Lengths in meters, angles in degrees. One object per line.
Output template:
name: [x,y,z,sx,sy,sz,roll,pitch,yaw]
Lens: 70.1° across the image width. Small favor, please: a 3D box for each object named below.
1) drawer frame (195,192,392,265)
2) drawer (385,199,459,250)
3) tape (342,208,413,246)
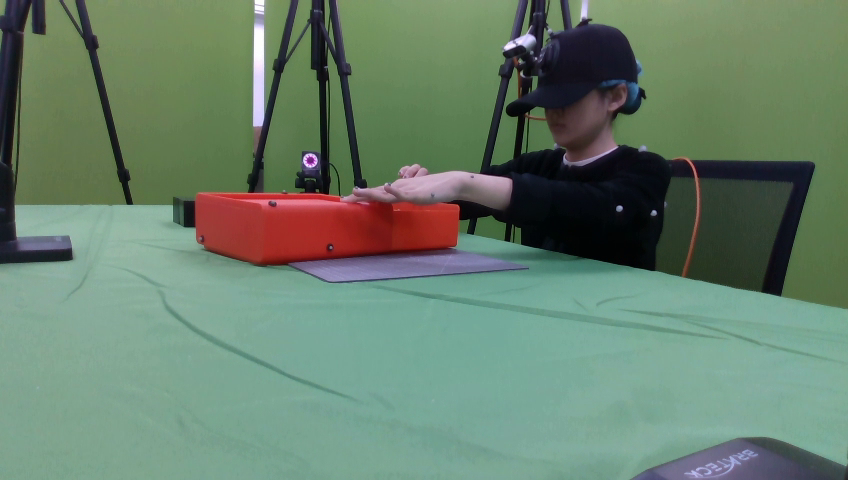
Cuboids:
drawer frame: [-0.189,-0.024,0.882,0.215,0.082,0.200,-5,11,-44]
drawer: [-0.085,-0.028,0.980,0.213,0.073,0.193,-2,9,-42]
tape: [-0.078,-0.023,0.996,0.117,0.052,0.117,4,6,0]
